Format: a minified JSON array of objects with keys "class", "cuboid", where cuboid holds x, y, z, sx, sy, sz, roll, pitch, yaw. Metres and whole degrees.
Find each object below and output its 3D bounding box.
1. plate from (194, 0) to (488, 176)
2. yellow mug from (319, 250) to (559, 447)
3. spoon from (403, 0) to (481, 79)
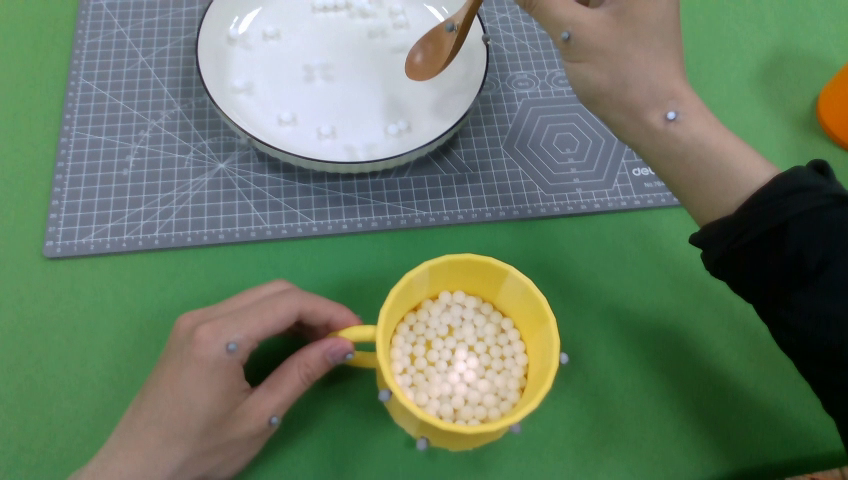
[{"class":"plate","cuboid":[-0.058,-0.132,0.447,0.208,0.039,0.206,2,64,-4]},{"class":"yellow mug","cuboid":[0.005,0.063,0.349,0.131,0.064,0.099,3,65,-3]},{"class":"spoon","cuboid":[0.039,-0.147,0.348,0.022,0.193,0.041,14,69,-25]}]
